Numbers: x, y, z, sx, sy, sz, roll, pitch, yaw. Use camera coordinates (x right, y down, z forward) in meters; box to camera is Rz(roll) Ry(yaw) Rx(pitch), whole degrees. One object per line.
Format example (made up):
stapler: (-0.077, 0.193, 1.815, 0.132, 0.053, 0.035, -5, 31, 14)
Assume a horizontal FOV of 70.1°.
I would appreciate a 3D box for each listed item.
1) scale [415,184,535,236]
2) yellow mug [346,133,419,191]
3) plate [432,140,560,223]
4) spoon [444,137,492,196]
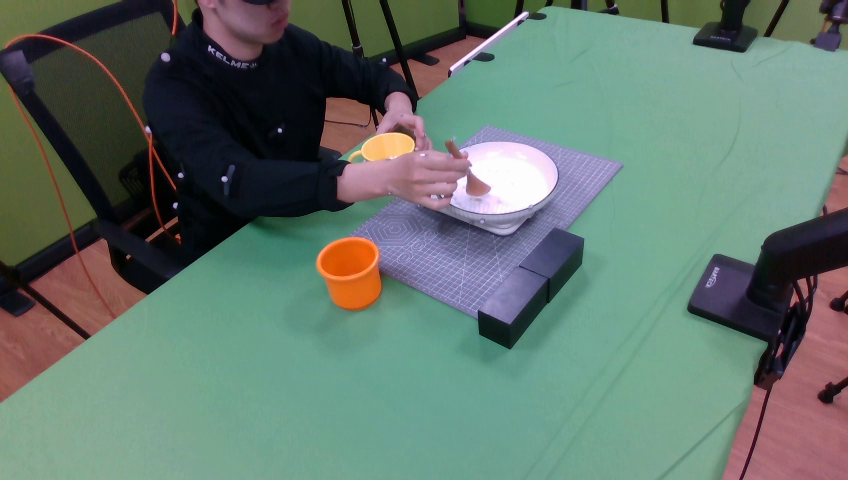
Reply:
scale: (0.099, -0.079, 1.035, 0.199, 0.032, 0.149, 23, 49, 31)
yellow mug: (-0.079, -0.142, 1.115, 0.131, 0.064, 0.099, -7, 39, 3)
plate: (0.118, -0.094, 0.999, 0.209, 0.038, 0.208, -5, 41, 5)
spoon: (0.062, -0.106, 0.897, 0.041, 0.195, 0.021, -12, 65, 17)
